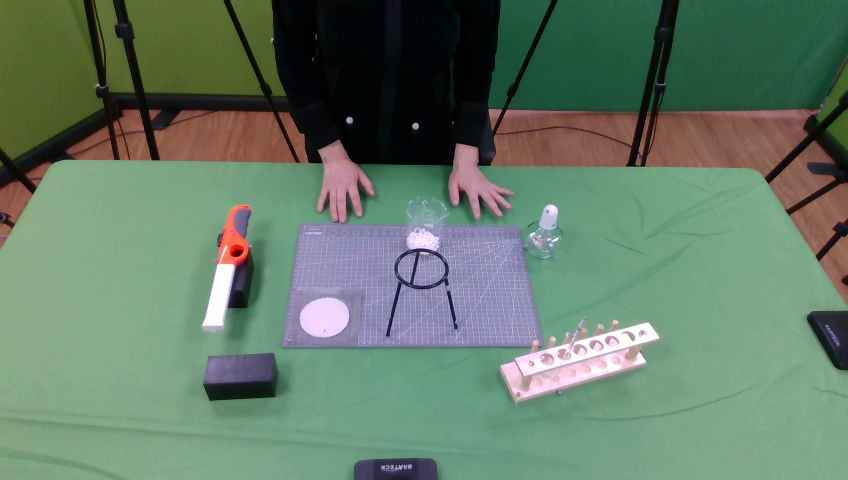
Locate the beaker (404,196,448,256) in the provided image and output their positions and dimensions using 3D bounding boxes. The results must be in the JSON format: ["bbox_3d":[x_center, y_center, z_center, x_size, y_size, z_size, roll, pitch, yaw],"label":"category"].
[{"bbox_3d":[0.001,-0.024,1.164,0.084,0.101,0.073,5,46,0],"label":"beaker"}]

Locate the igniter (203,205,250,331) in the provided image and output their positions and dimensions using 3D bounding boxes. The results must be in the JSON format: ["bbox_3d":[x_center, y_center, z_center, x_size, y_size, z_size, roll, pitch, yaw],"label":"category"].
[{"bbox_3d":[-0.345,0.038,1.065,0.057,0.025,0.274,3,49,-6],"label":"igniter"}]

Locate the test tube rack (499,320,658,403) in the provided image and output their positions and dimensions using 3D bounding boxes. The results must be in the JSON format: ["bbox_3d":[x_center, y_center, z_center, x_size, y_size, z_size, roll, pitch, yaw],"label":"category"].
[{"bbox_3d":[0.252,0.187,0.994,0.243,0.085,0.066,-12,48,-15],"label":"test tube rack"}]

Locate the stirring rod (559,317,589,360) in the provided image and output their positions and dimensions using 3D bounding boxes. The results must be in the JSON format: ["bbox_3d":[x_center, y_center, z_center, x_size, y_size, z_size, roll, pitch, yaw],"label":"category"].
[{"bbox_3d":[0.221,0.155,0.912,0.014,0.177,0.006,5,58,2],"label":"stirring rod"}]

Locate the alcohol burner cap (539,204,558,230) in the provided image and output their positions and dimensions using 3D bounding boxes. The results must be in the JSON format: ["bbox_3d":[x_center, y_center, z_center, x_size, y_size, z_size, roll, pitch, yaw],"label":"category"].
[{"bbox_3d":[0.238,-0.046,1.148,0.034,0.048,0.033,2,42,-1],"label":"alcohol burner cap"}]

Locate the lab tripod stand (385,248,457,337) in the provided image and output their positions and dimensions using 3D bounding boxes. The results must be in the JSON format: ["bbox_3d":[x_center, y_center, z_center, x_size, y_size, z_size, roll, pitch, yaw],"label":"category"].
[{"bbox_3d":[-0.010,0.087,1.032,0.148,0.132,0.147,1,45,-1],"label":"lab tripod stand"}]

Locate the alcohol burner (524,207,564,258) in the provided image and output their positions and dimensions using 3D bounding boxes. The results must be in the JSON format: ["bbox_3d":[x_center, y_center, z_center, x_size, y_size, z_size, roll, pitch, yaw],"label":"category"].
[{"bbox_3d":[0.236,-0.021,1.174,0.078,0.120,0.077,1,48,-1],"label":"alcohol burner"}]

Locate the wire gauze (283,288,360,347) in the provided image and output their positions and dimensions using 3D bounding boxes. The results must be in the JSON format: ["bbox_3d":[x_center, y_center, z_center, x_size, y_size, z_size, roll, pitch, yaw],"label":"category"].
[{"bbox_3d":[-0.178,0.132,1.063,0.125,0.011,0.120,2,46,1],"label":"wire gauze"}]
